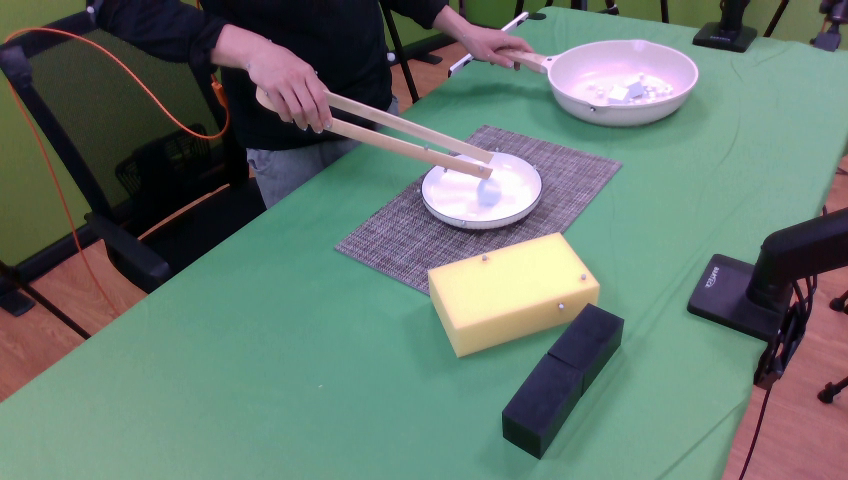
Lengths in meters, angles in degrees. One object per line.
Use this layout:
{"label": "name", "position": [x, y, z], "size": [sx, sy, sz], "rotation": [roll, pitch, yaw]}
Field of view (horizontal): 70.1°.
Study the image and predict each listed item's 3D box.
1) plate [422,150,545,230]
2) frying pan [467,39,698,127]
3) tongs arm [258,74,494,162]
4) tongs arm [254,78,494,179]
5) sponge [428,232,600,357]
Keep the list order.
{"label": "plate", "position": [0.101, -0.082, 1.031], "size": [0.207, 0.039, 0.206], "rotation": [-4, 40, 4]}
{"label": "frying pan", "position": [0.312, -0.359, 1.277], "size": [0.485, 0.103, 0.307], "rotation": [23, 48, 19]}
{"label": "tongs arm", "position": [-0.070, -0.191, 0.963], "size": [0.389, 0.028, 0.028], "rotation": [17, 52, -12]}
{"label": "tongs arm", "position": [-0.073, -0.171, 0.944], "size": [0.387, 0.026, 0.050], "rotation": [14, 49, -14]}
{"label": "sponge", "position": [0.120, 0.071, 0.834], "size": [0.207, 0.061, 0.117], "rotation": [-15, 43, -12]}
